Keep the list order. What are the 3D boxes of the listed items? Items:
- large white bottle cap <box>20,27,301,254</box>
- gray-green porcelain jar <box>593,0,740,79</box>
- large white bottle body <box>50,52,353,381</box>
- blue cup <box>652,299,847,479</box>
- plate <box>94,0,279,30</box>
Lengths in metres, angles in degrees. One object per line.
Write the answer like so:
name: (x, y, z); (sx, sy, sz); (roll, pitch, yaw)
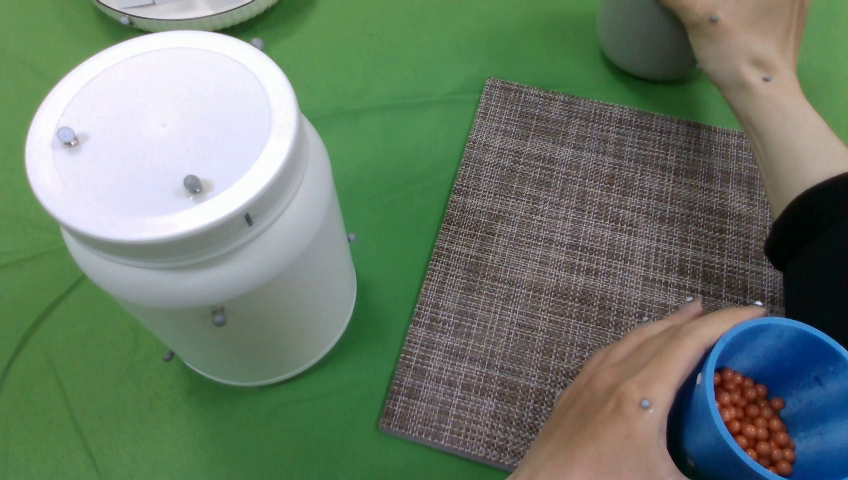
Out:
large white bottle cap: (-0.112, -0.048, 0.265); (0.115, 0.018, 0.114); (1, 62, -1)
gray-green porcelain jar: (0.196, -0.202, 0.480); (0.106, 0.127, 0.105); (0, 63, 1)
large white bottle body: (-0.113, -0.007, 0.339); (0.130, 0.186, 0.129); (1, 62, -1)
blue cup: (0.172, 0.097, 0.333); (0.093, 0.101, 0.092); (1, 64, -1)
plate: (-0.207, -0.262, 0.556); (0.208, 0.039, 0.206); (1, 62, -1)
